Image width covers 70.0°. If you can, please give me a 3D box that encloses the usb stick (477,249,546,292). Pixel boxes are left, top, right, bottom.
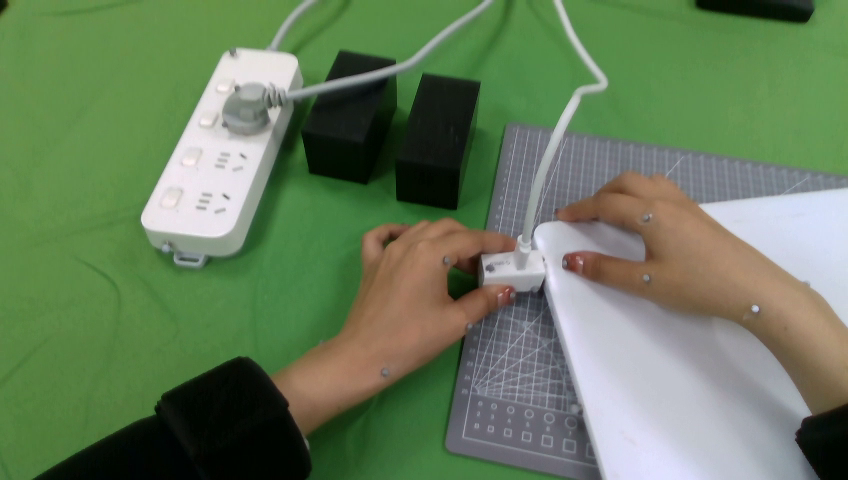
[{"bbox_3d":[0.069,0.022,0.433,0.059,0.027,0.021,-1,52,-10],"label":"usb stick"}]

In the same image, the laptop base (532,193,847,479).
[{"bbox_3d":[0.270,0.070,0.422,0.355,0.023,0.233,-6,58,-6],"label":"laptop base"}]

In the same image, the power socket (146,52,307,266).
[{"bbox_3d":[-0.158,-0.080,0.507,0.072,0.033,0.225,8,55,3],"label":"power socket"}]

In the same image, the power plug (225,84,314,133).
[{"bbox_3d":[-0.127,-0.097,0.491,0.072,0.053,0.035,17,56,10],"label":"power plug"}]

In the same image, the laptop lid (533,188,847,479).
[{"bbox_3d":[0.270,0.065,0.411,0.357,0.013,0.239,-5,57,-5],"label":"laptop lid"}]
